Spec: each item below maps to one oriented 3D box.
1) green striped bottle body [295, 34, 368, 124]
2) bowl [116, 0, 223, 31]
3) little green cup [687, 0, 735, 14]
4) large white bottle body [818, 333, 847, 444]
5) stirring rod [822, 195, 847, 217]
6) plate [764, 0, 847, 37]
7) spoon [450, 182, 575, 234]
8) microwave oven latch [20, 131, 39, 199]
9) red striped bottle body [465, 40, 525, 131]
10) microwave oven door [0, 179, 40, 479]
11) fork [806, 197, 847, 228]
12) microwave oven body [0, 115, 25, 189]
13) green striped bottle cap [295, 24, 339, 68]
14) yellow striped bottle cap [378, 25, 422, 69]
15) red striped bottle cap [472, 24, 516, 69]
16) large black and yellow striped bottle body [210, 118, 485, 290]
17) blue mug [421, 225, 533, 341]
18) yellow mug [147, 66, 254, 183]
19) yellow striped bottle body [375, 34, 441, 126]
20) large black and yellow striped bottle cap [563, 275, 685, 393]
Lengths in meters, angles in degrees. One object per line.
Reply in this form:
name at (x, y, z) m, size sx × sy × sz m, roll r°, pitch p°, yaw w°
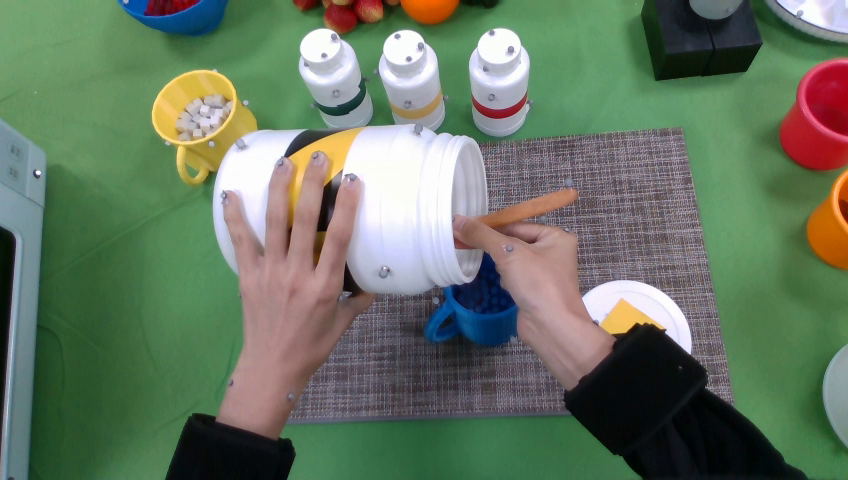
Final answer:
green striped bottle body at (-0.103, -0.182, 0.677) m, size 0.063 × 0.120 × 0.062 m, roll -2°, pitch 69°, yaw 6°
bowl at (-0.313, -0.324, 0.777) m, size 0.151 × 0.077 × 0.150 m, roll -2°, pitch 69°, yaw 6°
little green cup at (0.313, -0.277, 0.652) m, size 0.061 × 0.039 × 0.061 m, roll -2°, pitch 67°, yaw 5°
large white bottle body at (0.416, 0.111, 0.470) m, size 0.130 × 0.186 × 0.129 m, roll -2°, pitch 69°, yaw 6°
stirring rod at (0.408, -0.007, 0.542) m, size 0.014 × 0.006 × 0.175 m, roll -1°, pitch 26°, yaw 3°
plate at (0.482, -0.317, 0.702) m, size 0.209 × 0.038 × 0.207 m, roll -2°, pitch 70°, yaw 6°
spoon at (0.022, -0.007, 0.467) m, size 0.193 × 0.022 × 0.041 m, roll -20°, pitch 70°, yaw 14°
microwave oven latch at (-0.471, -0.086, 0.708) m, size 0.030 × 0.030 × 0.078 m, roll -11°, pitch 69°, yaw 2°
red striped bottle body at (0.076, -0.174, 0.653) m, size 0.063 × 0.120 × 0.062 m, roll -2°, pitch 68°, yaw 6°
microwave oven door at (-0.445, 0.078, 0.535) m, size 0.039 × 0.245 × 0.353 m, roll -12°, pitch 68°, yaw 3°
fork at (0.437, -0.007, 0.530) m, size 0.028 × 0.019 × 0.205 m, roll -32°, pitch 25°, yaw -12°
microwave oven body at (-0.595, 0.072, 0.560) m, size 0.326 × 0.262 × 0.438 m, roll -12°, pitch 69°, yaw 2°
green striped bottle cap at (-0.111, -0.201, 0.628) m, size 0.044 × 0.020 × 0.044 m, roll -2°, pitch 69°, yaw 4°
yellow striped bottle cap at (-0.025, -0.196, 0.616) m, size 0.044 × 0.019 × 0.044 m, roll -1°, pitch 66°, yaw 2°
red striped bottle cap at (0.070, -0.193, 0.603) m, size 0.044 × 0.018 × 0.044 m, roll -1°, pitch 68°, yaw 2°
large black and yellow striped bottle body at (-0.053, -0.027, 0.474) m, size 0.183 × 0.132 × 0.130 m, roll 1°, pitch 69°, yaw 18°
blue mug at (0.046, 0.054, 0.574) m, size 0.116 × 0.106 × 0.081 m, roll -36°, pitch 69°, yaw -8°
yellow mug at (-0.262, -0.129, 0.705) m, size 0.100 × 0.064 × 0.130 m, roll 6°, pitch 71°, yaw 9°
yellow striped bottle body at (-0.017, -0.178, 0.665) m, size 0.063 × 0.121 × 0.062 m, roll -2°, pitch 68°, yaw 7°
large black and yellow striped bottle cap at (0.194, 0.090, 0.591) m, size 0.115 × 0.019 × 0.114 m, roll -2°, pitch 68°, yaw 6°
